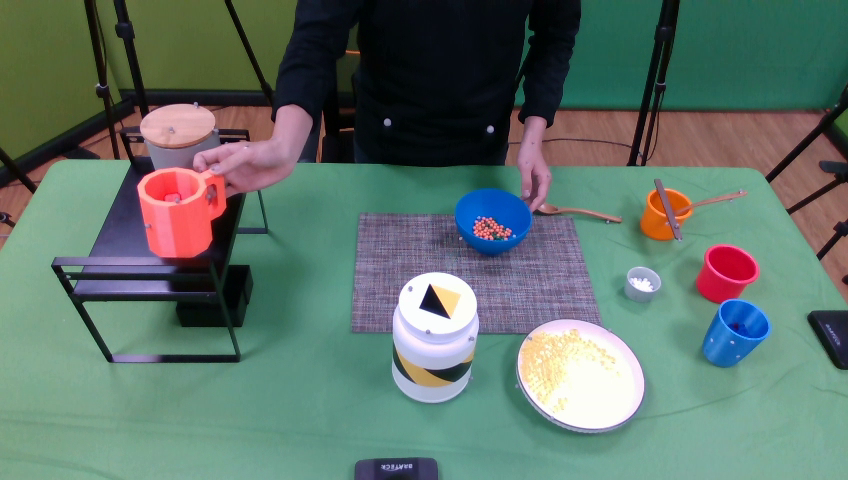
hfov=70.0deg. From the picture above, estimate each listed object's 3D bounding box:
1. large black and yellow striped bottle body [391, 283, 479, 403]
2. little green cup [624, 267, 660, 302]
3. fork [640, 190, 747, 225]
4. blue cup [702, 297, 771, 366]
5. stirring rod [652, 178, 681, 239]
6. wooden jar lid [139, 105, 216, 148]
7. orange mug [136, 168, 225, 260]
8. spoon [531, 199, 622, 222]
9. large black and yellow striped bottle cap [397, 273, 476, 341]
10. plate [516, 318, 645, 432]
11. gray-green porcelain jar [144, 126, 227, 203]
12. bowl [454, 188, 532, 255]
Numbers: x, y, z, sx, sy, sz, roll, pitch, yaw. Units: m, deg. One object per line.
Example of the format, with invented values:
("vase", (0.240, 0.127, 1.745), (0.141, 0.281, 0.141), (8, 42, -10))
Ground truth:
("large black and yellow striped bottle body", (0.015, 0.153, 0.938), (0.131, 0.185, 0.130), (2, 46, -2))
("little green cup", (0.406, 0.084, 1.135), (0.061, 0.039, 0.061), (3, 45, -3))
("fork", (0.533, -0.064, 1.211), (0.207, 0.019, 0.028), (-22, 28, 39))
("blue cup", (0.519, 0.162, 1.025), (0.093, 0.101, 0.092), (3, 45, -3))
("stirring rod", (0.481, -0.065, 1.204), (0.014, 0.006, 0.175), (1, 46, -1))
("wooden jar lid", (-0.372, -0.169, 0.920), (0.108, 0.021, 0.107), (4, 44, -4))
("orange mug", (-0.336, -0.046, 0.853), (0.083, 0.101, 0.126), (30, 48, 20))
("spoon", (0.322, -0.060, 1.279), (0.194, 0.022, 0.041), (8, 31, 4))
("large black and yellow striped bottle cap", (0.018, 0.094, 0.878), (0.115, 0.019, 0.114), (3, 46, -3))
("plate", (0.253, 0.221, 0.992), (0.209, 0.038, 0.208), (2, 46, -2))
("gray-green porcelain jar", (-0.375, -0.125, 0.966), (0.106, 0.127, 0.105), (2, 46, -2))
("bowl", (0.130, -0.024, 1.187), (0.151, 0.077, 0.150), (3, 45, -3))
